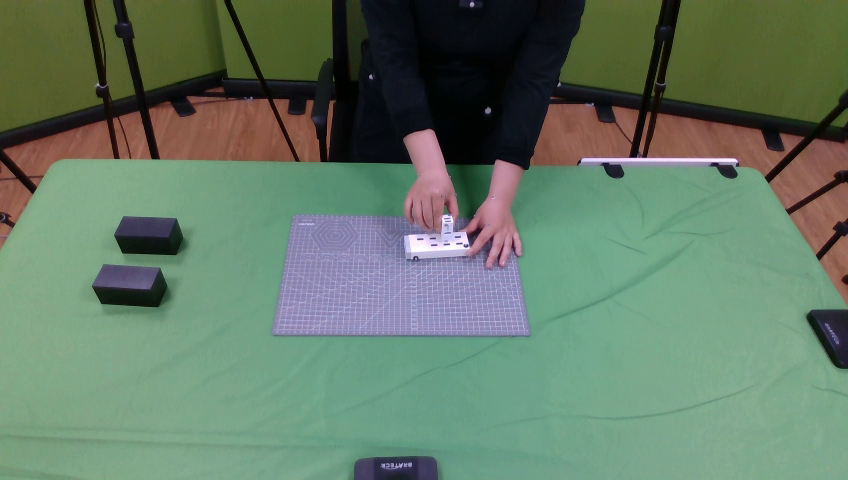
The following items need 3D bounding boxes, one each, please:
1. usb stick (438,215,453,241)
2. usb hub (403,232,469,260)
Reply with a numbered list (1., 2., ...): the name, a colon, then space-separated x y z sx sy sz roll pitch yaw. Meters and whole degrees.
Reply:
1. usb stick: 0.040 -0.018 1.162 0.021 0.059 0.027 -4 45 -12
2. usb hub: 0.023 0.012 1.182 0.125 0.025 0.049 -3 46 -7
